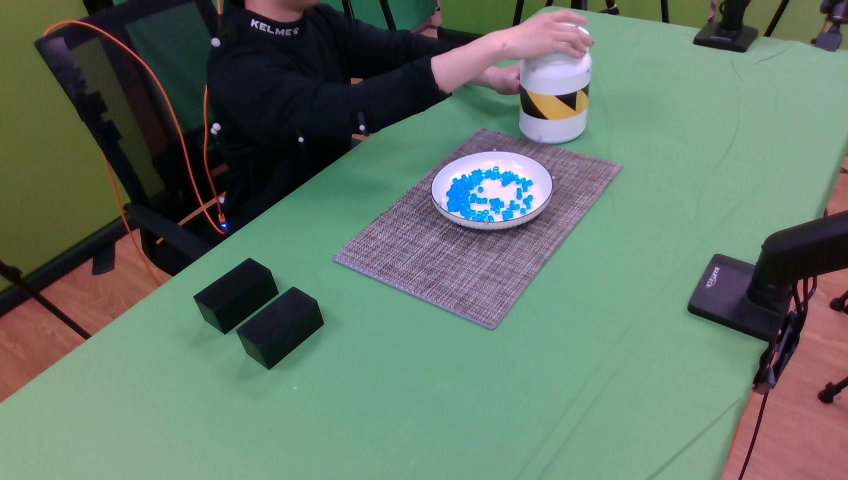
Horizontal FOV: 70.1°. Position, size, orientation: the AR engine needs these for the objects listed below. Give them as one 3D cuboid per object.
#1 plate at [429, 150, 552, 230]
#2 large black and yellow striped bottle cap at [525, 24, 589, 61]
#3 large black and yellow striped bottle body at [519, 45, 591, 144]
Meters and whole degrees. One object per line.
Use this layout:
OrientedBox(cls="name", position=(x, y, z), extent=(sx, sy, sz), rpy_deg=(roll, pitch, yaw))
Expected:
OrientedBox(cls="plate", position=(0.113, -0.082, 1.032), extent=(0.207, 0.039, 0.206), rpy_deg=(-4, 41, 4))
OrientedBox(cls="large black and yellow striped bottle cap", position=(0.240, -0.358, 1.093), extent=(0.115, 0.019, 0.114), rpy_deg=(-3, 44, 3))
OrientedBox(cls="large black and yellow striped bottle body", position=(0.247, -0.291, 1.149), extent=(0.131, 0.185, 0.130), rpy_deg=(-4, 40, 4))
